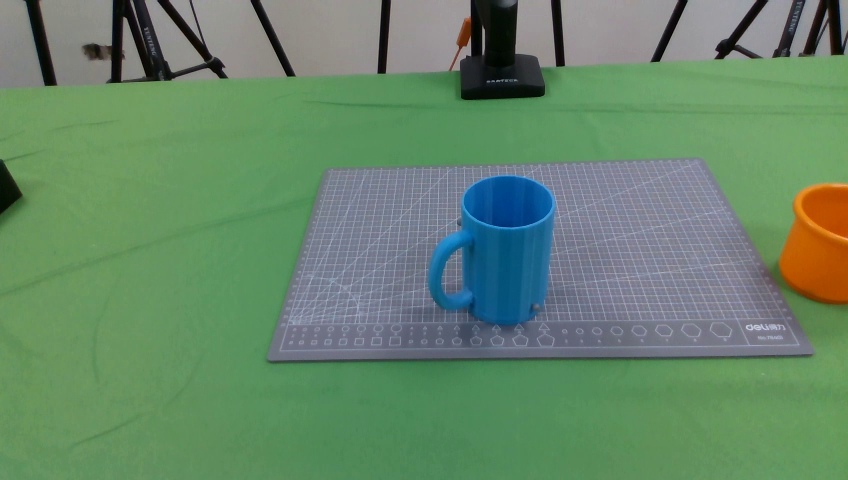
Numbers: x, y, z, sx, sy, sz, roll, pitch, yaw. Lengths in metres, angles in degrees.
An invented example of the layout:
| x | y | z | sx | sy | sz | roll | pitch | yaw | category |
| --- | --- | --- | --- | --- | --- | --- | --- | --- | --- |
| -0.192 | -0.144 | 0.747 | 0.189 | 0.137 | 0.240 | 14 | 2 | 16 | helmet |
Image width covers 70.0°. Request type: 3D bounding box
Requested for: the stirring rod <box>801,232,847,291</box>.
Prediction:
| x | y | z | sx | sy | sz | roll | pitch | yaw | category |
| --- | --- | --- | --- | --- | --- | --- | --- | --- | --- |
| 0.391 | -0.025 | 0.518 | 0.176 | 0.006 | 0.014 | -51 | 39 | 11 | stirring rod |

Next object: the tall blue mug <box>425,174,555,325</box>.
| x | y | z | sx | sy | sz | roll | pitch | yaw | category |
| --- | --- | --- | --- | --- | --- | --- | --- | --- | --- |
| 0.060 | 0.018 | 0.511 | 0.077 | 0.109 | 0.107 | 21 | 45 | 26 | tall blue mug |
